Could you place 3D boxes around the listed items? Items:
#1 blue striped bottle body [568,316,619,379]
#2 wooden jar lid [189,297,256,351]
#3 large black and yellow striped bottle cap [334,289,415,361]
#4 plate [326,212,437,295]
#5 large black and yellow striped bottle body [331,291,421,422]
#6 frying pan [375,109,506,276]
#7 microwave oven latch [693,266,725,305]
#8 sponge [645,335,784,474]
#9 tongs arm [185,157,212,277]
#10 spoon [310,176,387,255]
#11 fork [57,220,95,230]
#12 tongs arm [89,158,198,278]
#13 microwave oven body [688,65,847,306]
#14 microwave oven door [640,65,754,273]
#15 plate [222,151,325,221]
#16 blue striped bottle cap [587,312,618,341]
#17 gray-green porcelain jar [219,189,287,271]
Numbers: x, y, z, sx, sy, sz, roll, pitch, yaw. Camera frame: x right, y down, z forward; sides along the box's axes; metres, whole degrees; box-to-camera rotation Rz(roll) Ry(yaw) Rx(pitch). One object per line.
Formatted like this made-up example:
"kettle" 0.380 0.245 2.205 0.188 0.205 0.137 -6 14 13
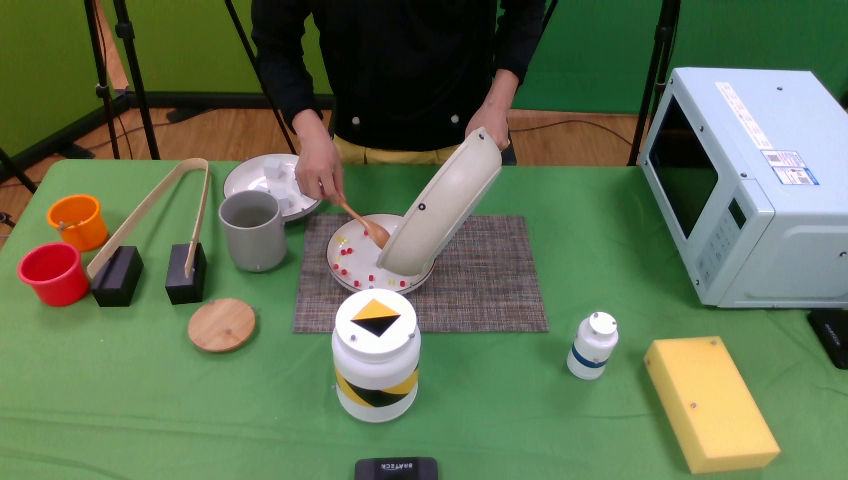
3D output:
"blue striped bottle body" 0.277 0.168 0.984 0.063 0.121 0.062 2 46 -2
"wooden jar lid" -0.342 0.145 1.033 0.108 0.021 0.107 2 45 -2
"large black and yellow striped bottle cap" -0.069 0.117 0.850 0.115 0.019 0.114 2 45 -2
"plate" -0.080 0.030 1.143 0.209 0.038 0.208 3 46 -2
"large black and yellow striped bottle body" -0.071 0.175 0.911 0.131 0.185 0.130 2 47 -2
"frying pan" 0.070 -0.118 1.074 0.103 0.307 0.486 33 45 -3
"microwave oven latch" 0.523 0.081 1.116 0.030 0.029 0.078 3 46 0
"sponge" 0.449 0.253 0.956 0.118 0.061 0.205 -4 46 -7
"tongs arm" -0.445 -0.058 1.168 0.051 0.026 0.382 -5 37 -6
"spoon" -0.136 -0.048 1.099 0.041 0.021 0.194 -44 93 7
"fork" -0.624 -0.027 1.086 0.028 0.207 0.018 -2 91 -17
"tongs arm" -0.530 -0.057 1.164 0.028 0.028 0.385 1 36 8
"microwave oven body" 0.669 -0.111 1.176 0.326 0.261 0.439 0 46 -3
"microwave oven door" 0.523 -0.147 1.193 0.039 0.245 0.353 0 47 -3
"plate" -0.310 -0.106 1.263 0.208 0.039 0.206 2 47 -2
"blue striped bottle cap" 0.279 0.134 0.947 0.044 0.021 0.044 2 44 -2
"gray-green porcelain jar" -0.310 -0.014 1.113 0.106 0.127 0.105 2 46 -2
